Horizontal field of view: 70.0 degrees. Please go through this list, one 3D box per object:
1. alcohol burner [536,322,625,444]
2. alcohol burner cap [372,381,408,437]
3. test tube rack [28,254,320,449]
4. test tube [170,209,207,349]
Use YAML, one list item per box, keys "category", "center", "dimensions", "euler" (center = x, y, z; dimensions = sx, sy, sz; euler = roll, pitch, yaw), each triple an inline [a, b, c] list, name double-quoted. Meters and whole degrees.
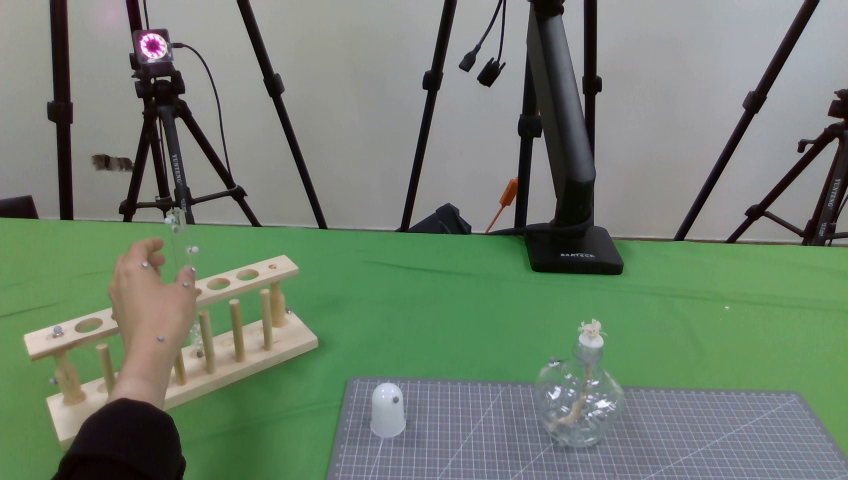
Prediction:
- category: "alcohol burner"
  center: [0.139, 0.118, 0.529]
  dimensions: [0.078, 0.120, 0.077]
  euler: [2, 31, -1]
- category: "alcohol burner cap"
  center: [-0.030, 0.148, 0.542]
  dimensions: [0.034, 0.048, 0.033]
  euler: [2, 30, -1]
- category: "test tube rack"
  center: [-0.227, 0.097, 0.585]
  dimensions: [0.243, 0.086, 0.066]
  euler: [-19, 35, -33]
- category: "test tube"
  center: [-0.224, 0.041, 0.583]
  dimensions: [0.017, 0.151, 0.017]
  euler: [0, 25, 0]
